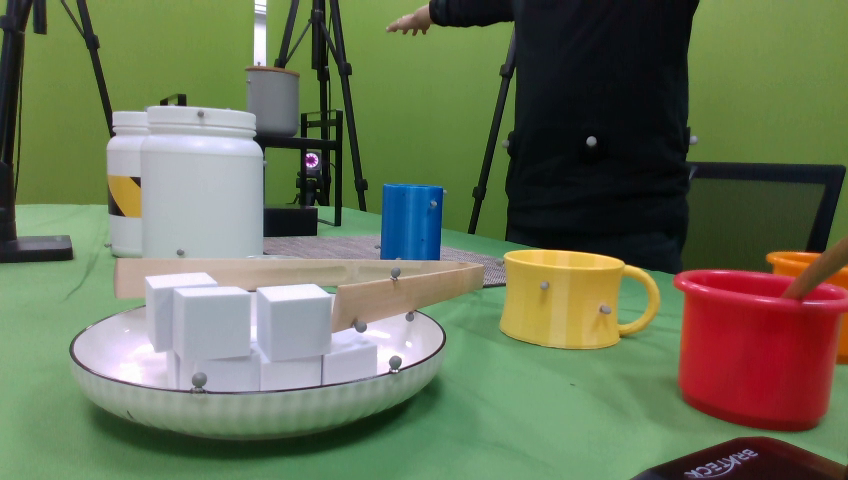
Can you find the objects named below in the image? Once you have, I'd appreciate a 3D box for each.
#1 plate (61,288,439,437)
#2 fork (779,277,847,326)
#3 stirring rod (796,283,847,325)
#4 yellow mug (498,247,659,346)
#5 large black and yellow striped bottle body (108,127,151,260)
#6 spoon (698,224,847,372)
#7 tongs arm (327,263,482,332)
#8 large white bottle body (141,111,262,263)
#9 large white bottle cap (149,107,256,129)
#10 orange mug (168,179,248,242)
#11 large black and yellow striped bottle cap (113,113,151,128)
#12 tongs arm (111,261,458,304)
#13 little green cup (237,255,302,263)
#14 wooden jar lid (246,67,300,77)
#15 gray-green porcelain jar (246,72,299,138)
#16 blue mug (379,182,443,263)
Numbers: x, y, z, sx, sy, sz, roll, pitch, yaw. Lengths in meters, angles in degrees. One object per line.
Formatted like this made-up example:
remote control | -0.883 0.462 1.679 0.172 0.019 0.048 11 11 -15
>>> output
plate | -0.095 0.069 0.362 0.208 0.039 0.207 3 7 0
fork | 0.336 0.018 0.443 0.028 0.018 0.207 -2 -36 -20
stirring rod | 0.347 0.019 0.460 0.014 0.176 0.006 -16 59 -26
yellow mug | 0.130 0.045 0.508 0.131 0.064 0.100 4 7 6
large black and yellow striped bottle body | -0.350 -0.071 0.812 0.131 0.184 0.130 2 7 0
spoon | 0.195 0.032 0.323 0.041 0.021 0.194 1 -36 2
tongs arm | -0.003 0.036 0.493 0.050 0.026 0.386 1 0 19
large white bottle body | -0.254 -0.053 0.697 0.131 0.184 0.130 2 7 0
large white bottle cap | -0.250 -0.137 0.686 0.115 0.018 0.115 2 8 0
orange mug | -0.351 -0.050 0.986 0.126 0.101 0.083 -3 8 -9
large black and yellow striped bottle cap | -0.348 -0.154 0.800 0.115 0.019 0.115 2 6 0
tongs arm | -0.080 0.032 0.527 0.028 0.027 0.389 -3 -3 33
little green cup | -0.150 0.038 0.590 0.061 0.038 0.061 3 6 0
wooden jar lid | -0.312 -0.339 1.247 0.108 0.020 0.108 4 8 0
gray-green porcelain jar | -0.314 -0.277 1.256 0.106 0.126 0.106 3 8 0
blue mug | -0.020 -0.026 0.833 0.082 0.106 0.116 1 7 -7
